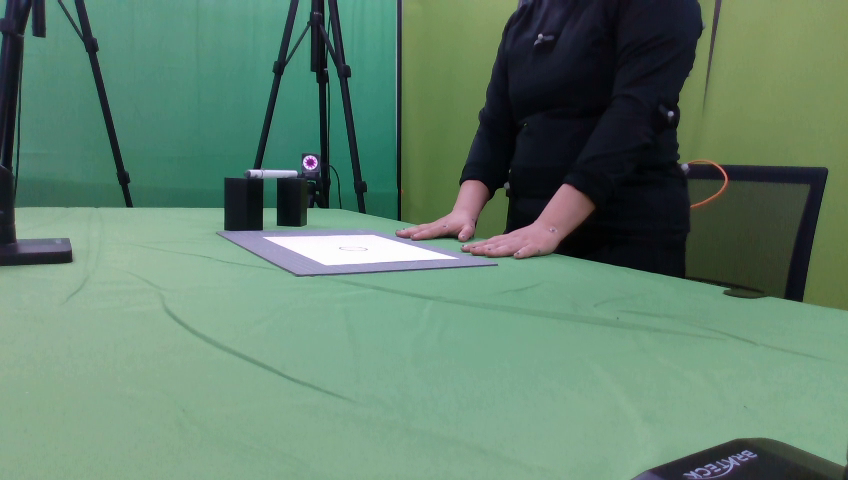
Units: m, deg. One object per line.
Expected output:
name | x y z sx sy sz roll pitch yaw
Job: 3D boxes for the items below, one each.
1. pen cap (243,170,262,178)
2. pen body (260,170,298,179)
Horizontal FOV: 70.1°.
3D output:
pen cap | -0.328 -0.126 1.154 0.017 0.017 0.038 6 10 22
pen body | -0.301 -0.131 1.211 0.017 0.017 0.144 6 8 24
